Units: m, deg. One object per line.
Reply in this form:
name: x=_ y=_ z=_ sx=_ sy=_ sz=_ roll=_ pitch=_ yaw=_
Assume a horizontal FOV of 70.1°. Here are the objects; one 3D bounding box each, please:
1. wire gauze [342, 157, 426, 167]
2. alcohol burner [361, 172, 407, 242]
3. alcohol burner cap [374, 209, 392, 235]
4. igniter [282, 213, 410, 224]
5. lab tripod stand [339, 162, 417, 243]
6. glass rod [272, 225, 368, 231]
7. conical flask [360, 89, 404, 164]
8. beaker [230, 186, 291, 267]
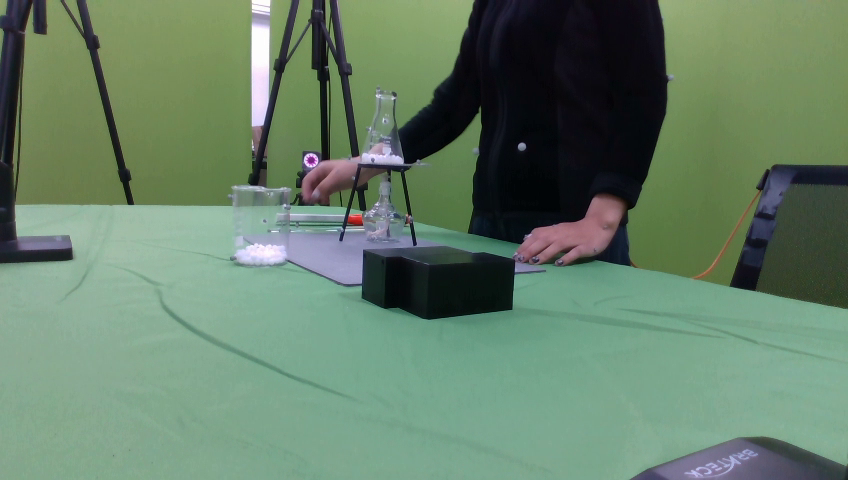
wire gauze: x=-0.065 y=-0.130 z=1.016 sx=0.122 sy=0.011 sz=0.124 roll=2 pitch=5 yaw=-27
alcohol burner: x=-0.067 y=-0.056 z=1.030 sx=0.078 sy=0.119 sz=0.078 roll=3 pitch=9 yaw=0
alcohol burner cap: x=-0.077 y=-0.035 z=1.148 sx=0.034 sy=0.048 sz=0.034 roll=3 pitch=9 yaw=0
igniter: x=-0.159 y=-0.046 z=1.287 sx=0.278 sy=0.025 sz=0.057 roll=-1 pitch=-3 yaw=-21
lab tripod stand: x=-0.067 y=-0.065 z=1.027 sx=0.148 sy=0.131 sz=0.148 roll=4 pitch=7 yaw=0
glass rod: x=-0.197 y=-0.024 z=1.170 sx=0.201 sy=0.008 sz=0.008 roll=-3 pitch=9 yaw=-34
conical flask: x=-0.067 y=-0.189 z=1.010 sx=0.075 sy=0.122 sz=0.075 roll=4 pitch=6 yaw=0
beaker: x=-0.209 y=-0.019 z=0.778 sx=0.074 sy=0.100 sz=0.084 roll=3 pitch=6 yaw=4
